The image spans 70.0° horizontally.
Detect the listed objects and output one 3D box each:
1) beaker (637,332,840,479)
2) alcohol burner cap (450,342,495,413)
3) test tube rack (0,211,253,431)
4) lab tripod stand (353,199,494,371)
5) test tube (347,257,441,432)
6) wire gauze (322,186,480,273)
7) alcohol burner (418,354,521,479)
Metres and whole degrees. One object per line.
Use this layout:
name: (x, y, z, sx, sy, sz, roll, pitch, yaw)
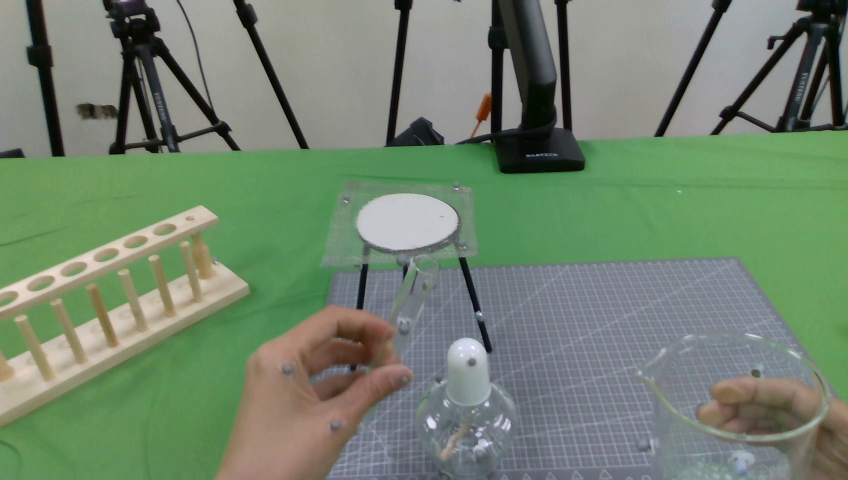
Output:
beaker: (0.149, 0.108, 0.300, 0.083, 0.101, 0.074, 4, 30, 26)
alcohol burner cap: (0.033, 0.093, 0.422, 0.034, 0.048, 0.033, -3, 34, 3)
test tube rack: (-0.292, 0.065, 0.575, 0.242, 0.086, 0.066, -30, 43, -35)
lab tripod stand: (-0.005, 0.040, 0.547, 0.148, 0.132, 0.147, 0, 33, 1)
test tube: (-0.021, 0.067, 0.351, 0.017, 0.151, 0.017, 14, 39, -11)
wire gauze: (-0.016, -0.013, 0.507, 0.121, 0.011, 0.124, 0, 35, 2)
alcohol burner: (0.034, 0.123, 0.442, 0.078, 0.120, 0.077, -1, 36, 1)
